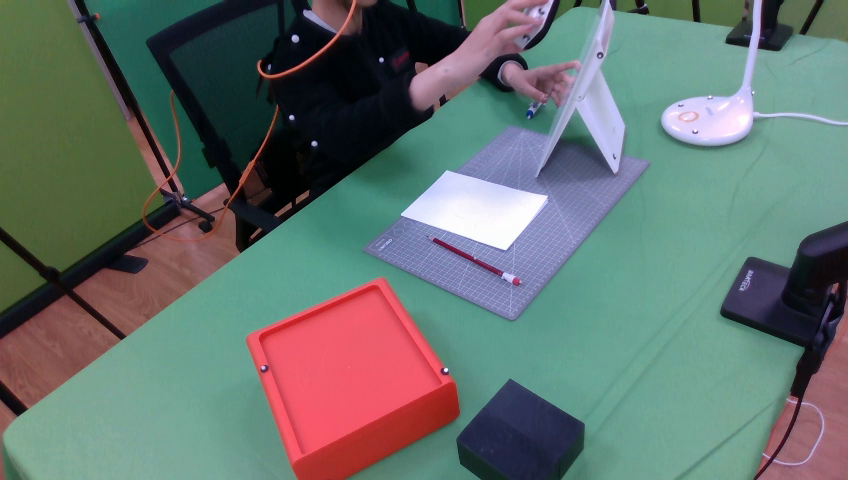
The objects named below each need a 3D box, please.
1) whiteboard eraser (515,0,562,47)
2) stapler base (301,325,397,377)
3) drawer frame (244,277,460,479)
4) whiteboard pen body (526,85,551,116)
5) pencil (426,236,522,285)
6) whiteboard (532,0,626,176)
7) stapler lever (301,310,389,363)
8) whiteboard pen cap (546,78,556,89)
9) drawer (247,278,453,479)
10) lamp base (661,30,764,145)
[{"bbox_3d":[0.177,-0.342,0.903,0.042,0.055,0.112,28,65,-12],"label":"whiteboard eraser"},{"bbox_3d":[-0.102,0.143,0.814,0.131,0.024,0.041,-18,42,-13],"label":"stapler base"},{"bbox_3d":[-0.093,0.167,0.755,0.202,0.083,0.211,-23,43,-17],"label":"drawer frame"},{"bbox_3d":[0.251,-0.306,1.298,0.017,0.017,0.141,15,46,26],"label":"whiteboard pen body"},{"bbox_3d":[0.072,0.028,0.941,0.192,0.012,0.012,27,52,37],"label":"pencil"},{"bbox_3d":[0.321,-0.258,1.050,0.144,0.306,0.217,22,45,5],"label":"whiteboard"},{"bbox_3d":[-0.104,0.126,0.798,0.118,0.040,0.026,-17,42,-15],"label":"stapler lever"},{"bbox_3d":[0.280,-0.344,1.335,0.018,0.018,0.033,15,45,26],"label":"whiteboard pen cap"},{"bbox_3d":[-0.096,0.167,0.758,0.195,0.073,0.210,-22,43,-16],"label":"drawer"},{"bbox_3d":[0.535,-0.287,1.096,0.179,0.181,0.159,-10,40,-4],"label":"lamp base"}]
